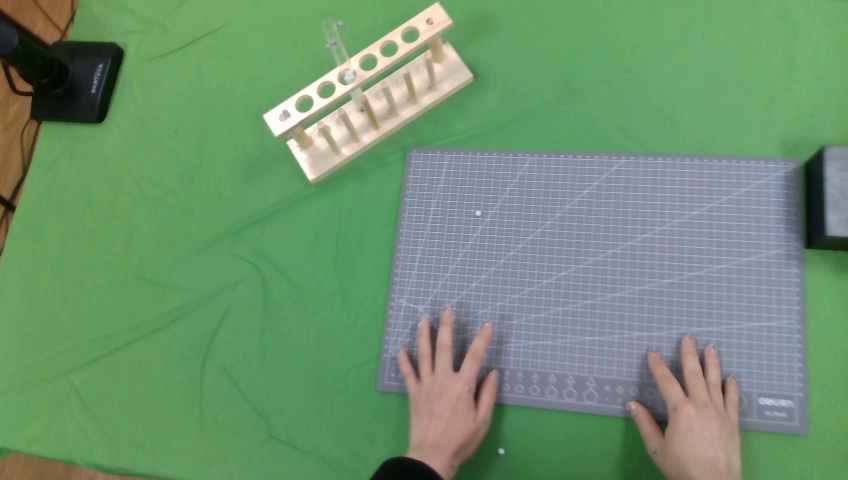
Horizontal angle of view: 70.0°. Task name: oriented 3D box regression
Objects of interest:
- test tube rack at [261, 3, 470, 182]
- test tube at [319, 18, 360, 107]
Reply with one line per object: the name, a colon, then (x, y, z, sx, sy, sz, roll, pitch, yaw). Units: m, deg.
test tube rack: (-0.066, -0.175, 0.738, 0.242, 0.086, 0.066, -33, 72, -1)
test tube: (-0.093, -0.198, 0.696, 0.017, 0.151, 0.017, -2, 69, 7)
